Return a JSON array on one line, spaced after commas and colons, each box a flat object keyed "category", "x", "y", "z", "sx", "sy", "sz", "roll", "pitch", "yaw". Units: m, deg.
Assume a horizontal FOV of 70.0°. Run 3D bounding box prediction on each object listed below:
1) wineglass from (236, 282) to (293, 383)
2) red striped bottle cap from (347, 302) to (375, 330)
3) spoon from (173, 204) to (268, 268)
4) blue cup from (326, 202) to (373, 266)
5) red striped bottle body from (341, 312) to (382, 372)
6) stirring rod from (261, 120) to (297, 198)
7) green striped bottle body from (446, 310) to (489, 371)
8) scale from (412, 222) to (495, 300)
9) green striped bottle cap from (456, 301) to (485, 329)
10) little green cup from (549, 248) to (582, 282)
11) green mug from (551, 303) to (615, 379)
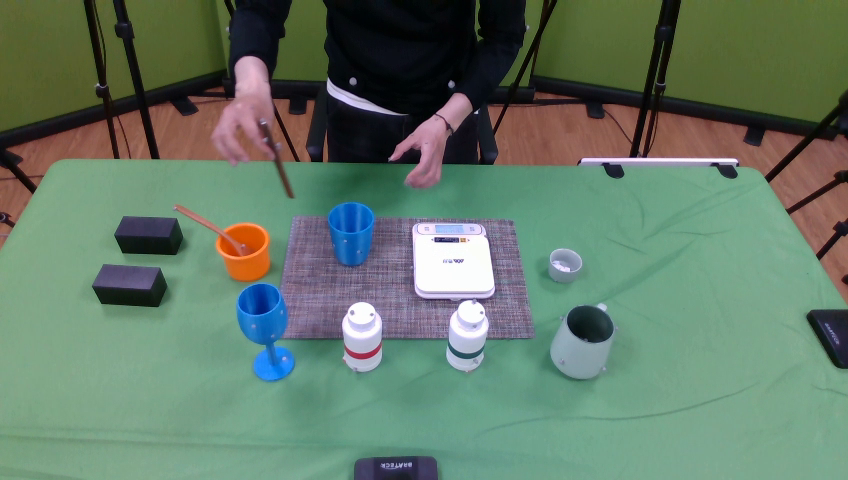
[{"category": "wineglass", "x": -0.243, "y": 0.143, "z": 0.934, "sx": 0.074, "sy": 0.173, "sz": 0.073, "roll": 2, "pitch": 46, "yaw": -2}, {"category": "red striped bottle cap", "x": -0.097, "y": 0.116, "z": 0.934, "sx": 0.044, "sy": 0.018, "sz": 0.044, "roll": 2, "pitch": 48, "yaw": -2}, {"category": "spoon", "x": -0.363, "y": -0.008, "z": 1.089, "sx": 0.021, "sy": 0.195, "sz": 0.041, "roll": -33, "pitch": 32, "yaw": 26}, {"category": "blue cup", "x": -0.138, "y": -0.006, "z": 1.131, "sx": 0.093, "sy": 0.101, "sz": 0.092, "roll": 3, "pitch": 45, "yaw": -3}, {"category": "red striped bottle body", "x": -0.100, "y": 0.154, "z": 0.972, "sx": 0.063, "sy": 0.120, "sz": 0.062, "roll": 2, "pitch": 45, "yaw": -1}, {"category": "stirring rod", "x": -0.230, "y": -0.125, "z": 0.970, "sx": 0.014, "sy": 0.177, "sz": 0.006, "roll": 17, "pitch": 57, "yaw": 16}, {"category": "green striped bottle body", "x": 0.070, "y": 0.155, "z": 0.984, "sx": 0.063, "sy": 0.120, "sz": 0.063, "roll": 2, "pitch": 46, "yaw": -2}, {"category": "scale", "x": 0.052, "y": 0.031, "z": 1.158, "sx": 0.149, "sy": 0.032, "sz": 0.199, "roll": 1, "pitch": 46, "yaw": -4}, {"category": "green striped bottle cap", "x": 0.073, "y": 0.116, "z": 0.943, "sx": 0.044, "sy": 0.020, "sz": 0.044, "roll": 3, "pitch": 46, "yaw": -3}, {"category": "little green cup", "x": 0.268, "y": 0.050, "z": 1.156, "sx": 0.061, "sy": 0.039, "sz": 0.061, "roll": 2, "pitch": 46, "yaw": -1}, {"category": "green mug", "x": 0.271, "y": 0.157, "z": 1.007, "sx": 0.092, "sy": 0.105, "sz": 0.125, "roll": 27, "pitch": 50, "yaw": 21}]
